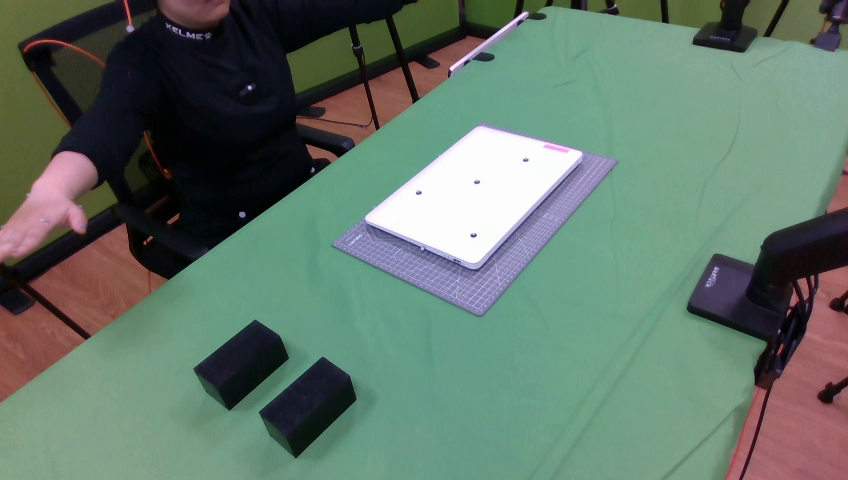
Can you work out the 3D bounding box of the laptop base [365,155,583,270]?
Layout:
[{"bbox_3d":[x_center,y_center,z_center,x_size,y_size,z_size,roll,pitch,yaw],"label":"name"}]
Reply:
[{"bbox_3d":[0.095,-0.086,1.059,0.233,0.023,0.355,20,47,33],"label":"laptop base"}]

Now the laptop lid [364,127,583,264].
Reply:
[{"bbox_3d":[0.092,-0.096,1.053,0.239,0.013,0.358,23,48,34],"label":"laptop lid"}]
